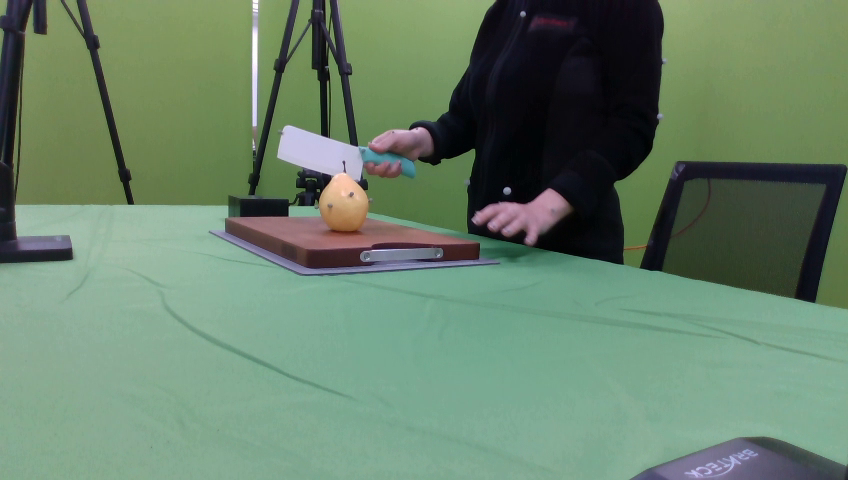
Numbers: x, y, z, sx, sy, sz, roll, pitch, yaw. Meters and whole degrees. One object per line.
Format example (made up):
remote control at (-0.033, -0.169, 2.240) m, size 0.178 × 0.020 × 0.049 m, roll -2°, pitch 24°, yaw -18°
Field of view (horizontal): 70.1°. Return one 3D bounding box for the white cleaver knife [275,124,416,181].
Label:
white cleaver knife at (-0.125, -0.134, 1.026) m, size 0.288 × 0.066 × 0.021 m, roll 9°, pitch -1°, yaw -43°

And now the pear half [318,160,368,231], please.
pear half at (-0.120, -0.067, 0.927) m, size 0.077 × 0.110 × 0.055 m, roll -7°, pitch 11°, yaw -29°

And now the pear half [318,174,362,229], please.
pear half at (-0.137, -0.062, 0.959) m, size 0.071 × 0.088 × 0.031 m, roll -8°, pitch 11°, yaw -30°
